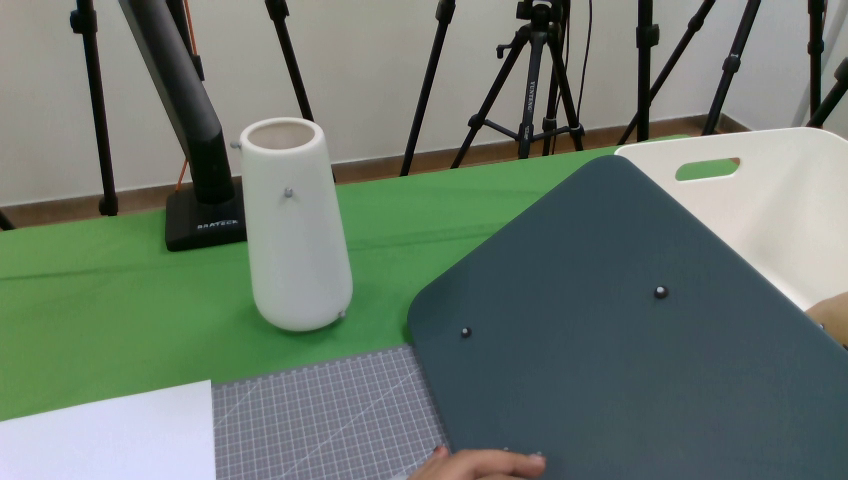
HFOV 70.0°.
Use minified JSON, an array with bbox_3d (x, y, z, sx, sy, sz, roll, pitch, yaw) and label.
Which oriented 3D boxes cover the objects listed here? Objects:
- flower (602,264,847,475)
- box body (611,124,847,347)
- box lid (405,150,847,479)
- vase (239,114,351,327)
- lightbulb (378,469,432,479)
[{"bbox_3d":[0.291,0.136,0.520,0.038,0.044,0.357,-28,49,-19],"label":"flower"},{"bbox_3d":[0.340,0.055,0.526,0.255,0.162,0.360,-8,37,-12],"label":"box body"},{"bbox_3d":[0.128,0.093,0.458,0.263,0.015,0.367,-38,39,10],"label":"box lid"},{"bbox_3d":[-0.123,-0.013,0.569,0.098,0.201,0.097,0,36,0],"label":"vase"},{"bbox_3d":[-0.008,0.205,0.397,0.060,0.060,0.106,-7,52,-11],"label":"lightbulb"}]
